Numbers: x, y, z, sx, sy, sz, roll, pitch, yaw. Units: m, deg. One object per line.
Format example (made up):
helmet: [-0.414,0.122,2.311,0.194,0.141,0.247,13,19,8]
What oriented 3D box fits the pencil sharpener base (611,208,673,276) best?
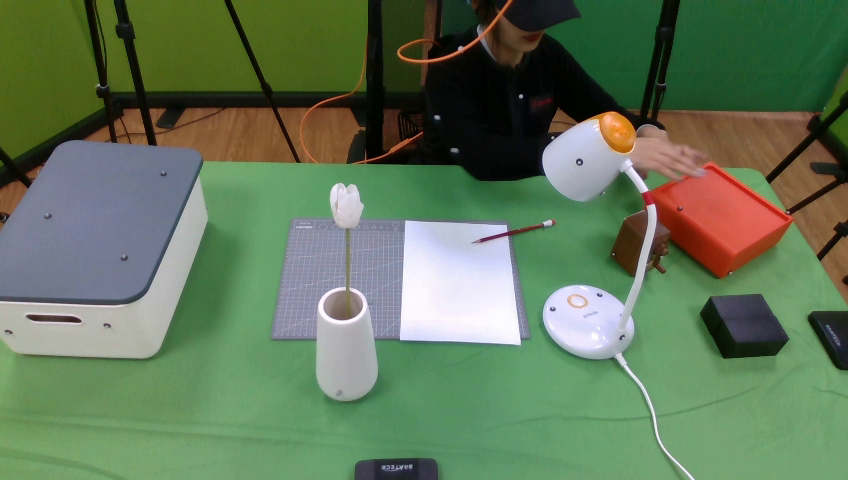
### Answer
pencil sharpener base: [0.416,0.007,1.158,0.061,0.107,0.076,-20,51,-22]

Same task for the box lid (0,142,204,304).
box lid: [-0.534,-0.044,0.994,0.263,0.015,0.369,3,45,-3]

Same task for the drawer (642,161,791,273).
drawer: [0.597,-0.052,1.246,0.194,0.073,0.210,-24,52,-25]

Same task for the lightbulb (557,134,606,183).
lightbulb: [0.242,-0.127,0.916,0.059,0.108,0.059,5,67,-12]

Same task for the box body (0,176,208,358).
box body: [-0.546,0.017,1.045,0.254,0.161,0.361,2,46,-2]

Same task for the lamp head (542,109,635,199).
lamp head: [0.253,-0.131,0.893,0.113,0.123,0.112,10,66,-24]

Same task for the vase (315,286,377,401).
vase: [-0.119,0.159,0.911,0.098,0.201,0.097,2,47,-2]

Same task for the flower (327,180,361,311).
flower: [-0.110,0.087,0.867,0.044,0.363,0.038,22,34,36]

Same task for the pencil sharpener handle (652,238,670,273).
pencil sharpener handle: [0.443,0.030,1.120,0.036,0.068,0.030,-24,52,-17]

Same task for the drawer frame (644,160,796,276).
drawer frame: [0.599,-0.051,1.244,0.202,0.083,0.212,-24,53,-25]

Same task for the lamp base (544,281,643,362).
lamp base: [0.303,0.095,1.014,0.161,0.181,0.178,-24,54,-24]

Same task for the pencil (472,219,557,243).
pencil: [0.185,-0.017,1.233,0.194,0.012,0.012,-14,49,-17]
